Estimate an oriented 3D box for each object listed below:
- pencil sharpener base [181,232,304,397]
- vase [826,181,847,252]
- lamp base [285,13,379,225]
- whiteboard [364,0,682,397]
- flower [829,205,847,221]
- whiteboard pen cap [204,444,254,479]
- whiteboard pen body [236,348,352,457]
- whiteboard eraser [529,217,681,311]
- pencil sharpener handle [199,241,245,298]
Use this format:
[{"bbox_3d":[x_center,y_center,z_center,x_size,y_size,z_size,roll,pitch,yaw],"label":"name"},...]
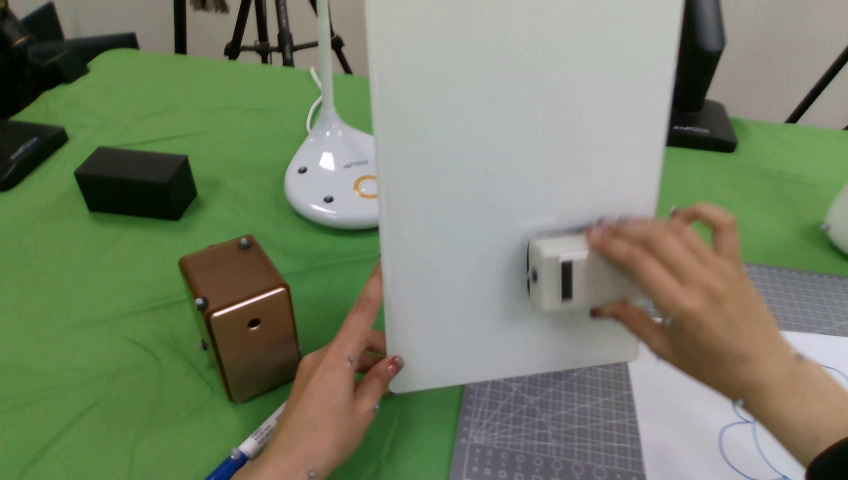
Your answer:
[{"bbox_3d":[-0.142,0.058,0.479,0.061,0.108,0.076,-22,47,-25],"label":"pencil sharpener base"},{"bbox_3d":[0.483,-0.070,0.589,0.098,0.201,0.097,2,42,-2],"label":"vase"},{"bbox_3d":[-0.082,-0.135,0.646,0.161,0.182,0.177,-26,47,-29],"label":"lamp base"},{"bbox_3d":[0.064,-0.050,0.508,0.217,0.307,0.142,-6,23,-8],"label":"whiteboard"},{"bbox_3d":[0.492,-0.121,0.523,0.044,0.363,0.038,-9,60,-22],"label":"flower"},{"bbox_3d":[-0.134,0.158,0.420,0.018,0.018,0.033,25,42,24],"label":"whiteboard pen cap"},{"bbox_3d":[-0.104,0.129,0.463,0.017,0.017,0.140,24,42,23],"label":"whiteboard pen body"},{"bbox_3d":[0.135,0.017,0.458,0.113,0.056,0.041,-8,15,-9],"label":"whiteboard eraser"},{"bbox_3d":[-0.167,0.019,0.503,0.036,0.068,0.030,-28,49,-19],"label":"pencil sharpener handle"}]
